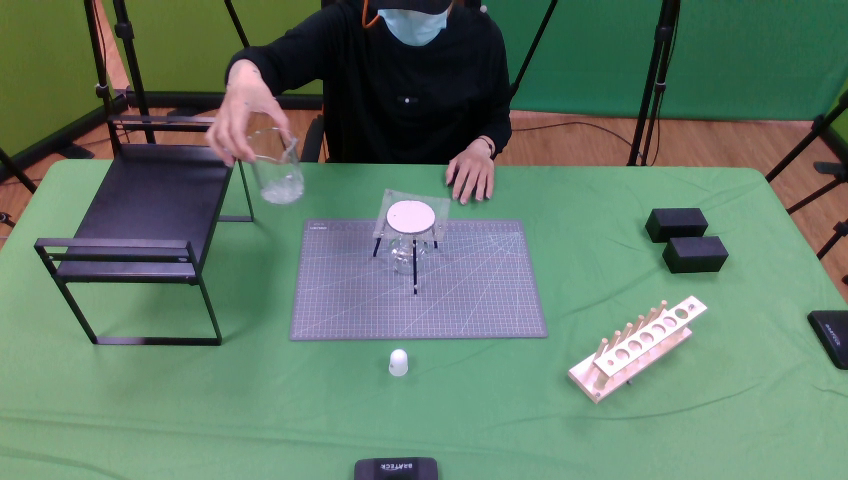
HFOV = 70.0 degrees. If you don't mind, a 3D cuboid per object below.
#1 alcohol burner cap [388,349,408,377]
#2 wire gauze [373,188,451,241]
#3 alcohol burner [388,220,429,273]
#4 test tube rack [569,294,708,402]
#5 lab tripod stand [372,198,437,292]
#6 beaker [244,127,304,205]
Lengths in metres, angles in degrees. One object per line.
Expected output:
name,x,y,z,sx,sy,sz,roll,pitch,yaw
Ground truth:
alcohol burner cap,-0.042,0.197,0.989,0.034,0.048,0.033,2,46,-2
wire gauze,-0.019,-0.045,1.060,0.121,0.011,0.124,8,45,3
alcohol burner,-0.028,0.006,1.118,0.078,0.119,0.077,2,48,-3
test tube rack,0.360,0.167,1.014,0.242,0.085,0.066,-25,53,-25
lab tripod stand,-0.025,-0.002,1.112,0.148,0.132,0.147,2,44,-2
beaker,-0.223,-0.109,0.925,0.074,0.101,0.083,-23,49,-20
